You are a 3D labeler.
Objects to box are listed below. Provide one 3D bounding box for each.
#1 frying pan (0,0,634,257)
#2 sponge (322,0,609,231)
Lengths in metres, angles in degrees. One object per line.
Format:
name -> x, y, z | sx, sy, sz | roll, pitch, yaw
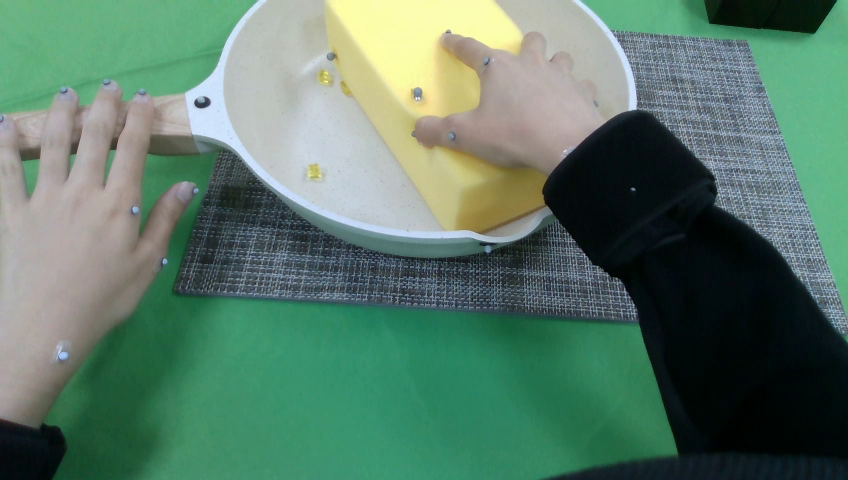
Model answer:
frying pan -> -0.097, -0.090, 0.418 | 0.489, 0.103, 0.303 | -9, 56, -18
sponge -> 0.022, -0.112, 0.452 | 0.118, 0.061, 0.205 | -25, 62, -17
